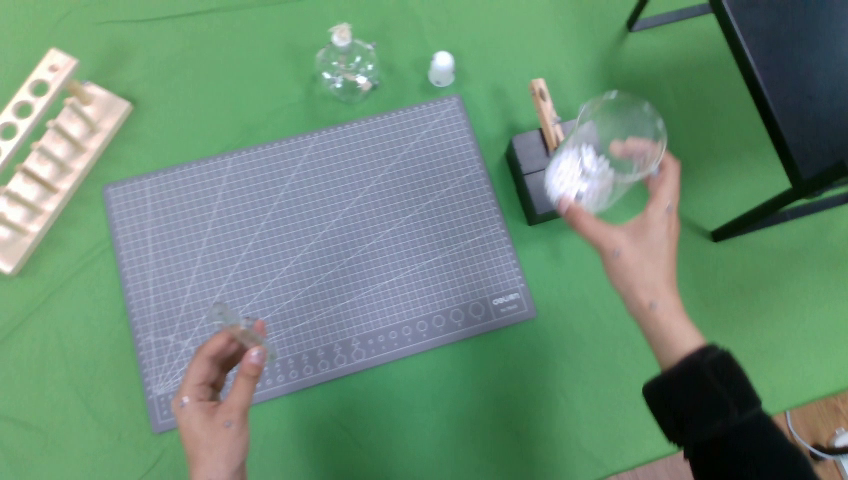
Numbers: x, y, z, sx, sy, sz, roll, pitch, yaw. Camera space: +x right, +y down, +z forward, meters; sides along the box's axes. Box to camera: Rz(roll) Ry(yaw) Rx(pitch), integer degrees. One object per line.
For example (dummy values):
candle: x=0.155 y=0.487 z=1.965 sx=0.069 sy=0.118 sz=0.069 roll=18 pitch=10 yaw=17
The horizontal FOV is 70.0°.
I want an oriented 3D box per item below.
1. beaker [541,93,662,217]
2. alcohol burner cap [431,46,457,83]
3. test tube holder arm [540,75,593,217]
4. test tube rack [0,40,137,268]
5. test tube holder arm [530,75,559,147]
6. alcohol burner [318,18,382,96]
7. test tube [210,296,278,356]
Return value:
beaker: x=0.145 y=-0.065 z=0.522 sx=0.074 sy=0.100 sz=0.084 roll=41 pitch=73 yaw=7
alcohol burner cap: x=0.026 y=-0.223 z=0.761 sx=0.034 sy=0.048 sz=0.033 roll=1 pitch=76 yaw=-3
test tube holder arm: x=0.163 y=-0.111 z=0.705 sx=0.013 sy=0.015 sz=0.177 roll=-16 pitch=79 yaw=-14
test tube rack: x=-0.438 y=-0.095 z=0.684 sx=0.066 sy=0.085 sz=0.241 roll=28 pitch=77 yaw=4
test tube holder arm: x=0.144 y=-0.152 z=0.712 sx=0.010 sy=0.015 sz=0.087 roll=-14 pitch=79 yaw=-14
alcohol burner: x=-0.088 y=-0.222 z=0.718 sx=0.078 sy=0.119 sz=0.077 roll=1 pitch=75 yaw=-3
test tube: x=-0.149 y=0.076 z=0.516 sx=0.017 sy=0.151 sz=0.017 roll=0 pitch=67 yaw=1
